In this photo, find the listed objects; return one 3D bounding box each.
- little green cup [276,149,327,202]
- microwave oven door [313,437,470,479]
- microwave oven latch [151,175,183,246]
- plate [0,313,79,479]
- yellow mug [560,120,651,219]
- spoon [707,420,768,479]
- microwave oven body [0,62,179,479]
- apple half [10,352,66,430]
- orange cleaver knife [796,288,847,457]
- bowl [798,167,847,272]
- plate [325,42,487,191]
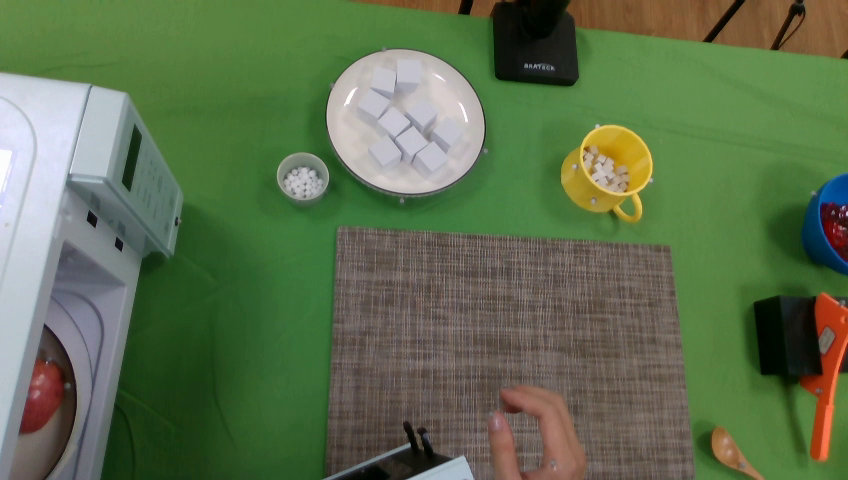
[{"bbox_3d":[-0.149,-0.076,0.739,0.062,0.039,0.061,3,75,-11],"label":"little green cup"},{"bbox_3d":[-0.146,0.259,0.525,0.356,0.244,0.039,-18,78,-15],"label":"microwave oven door"},{"bbox_3d":[-0.292,-0.035,0.683,0.030,0.029,0.078,8,74,-9],"label":"microwave oven latch"},{"bbox_3d":[-0.429,0.157,0.560,0.210,0.038,0.208,3,74,-10],"label":"plate"},{"bbox_3d":[0.247,-0.087,0.804,0.100,0.064,0.130,-26,82,-16],"label":"yellow mug"},{"bbox_3d":[0.421,0.300,0.754,0.193,0.022,0.041,44,56,3],"label":"spoon"},{"bbox_3d":[-0.433,0.093,0.521,0.327,0.261,0.439,6,75,-9],"label":"microwave oven body"},{"bbox_3d":[-0.384,0.140,0.566,0.081,0.033,0.081,2,74,-7],"label":"apple half"},{"bbox_3d":[0.504,0.169,0.774,0.012,0.077,0.211,4,98,-5],"label":"orange cleaver knife"},{"bbox_3d":[0.583,-0.019,0.842,0.152,0.077,0.150,3,75,-9],"label":"bowl"},{"bbox_3d":[-0.023,-0.157,0.787,0.208,0.039,0.206,3,75,-10],"label":"plate"}]
